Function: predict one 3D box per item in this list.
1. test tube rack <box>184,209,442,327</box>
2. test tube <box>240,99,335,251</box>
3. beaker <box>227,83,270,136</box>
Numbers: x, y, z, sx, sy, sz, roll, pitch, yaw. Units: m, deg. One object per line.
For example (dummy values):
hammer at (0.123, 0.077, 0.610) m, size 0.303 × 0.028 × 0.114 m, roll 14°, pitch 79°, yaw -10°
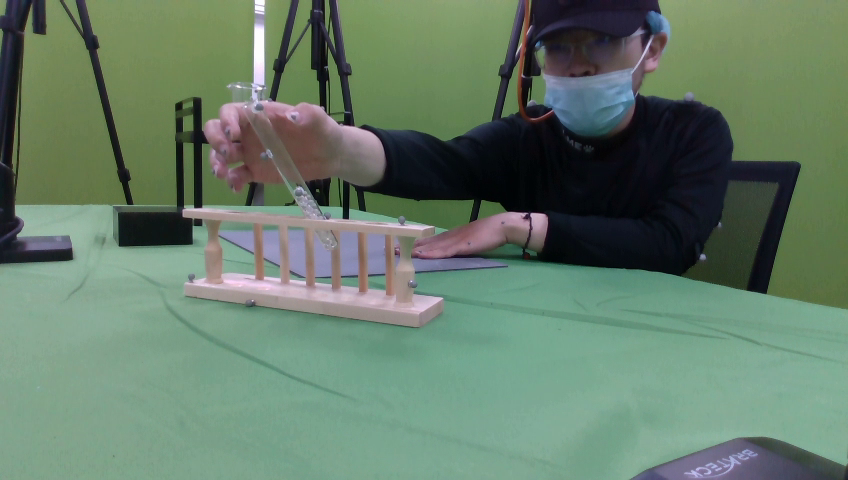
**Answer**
test tube rack at (-0.106, 0.019, 0.570) m, size 0.241 × 0.085 × 0.067 m, roll 5°, pitch 7°, yaw 20°
test tube at (-0.116, -0.053, 0.527) m, size 0.017 × 0.151 × 0.017 m, roll -21°, pitch 24°, yaw 10°
beaker at (-0.354, -0.262, 1.224) m, size 0.084 × 0.100 × 0.073 m, roll -2°, pitch 8°, yaw -28°
